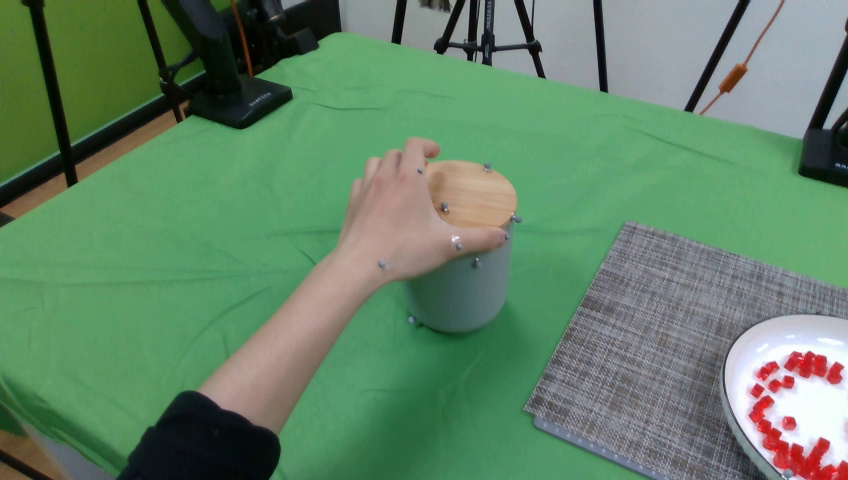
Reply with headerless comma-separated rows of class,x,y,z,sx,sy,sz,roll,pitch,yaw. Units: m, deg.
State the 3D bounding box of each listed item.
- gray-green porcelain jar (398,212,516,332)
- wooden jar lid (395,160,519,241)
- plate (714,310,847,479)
gray-green porcelain jar,0.030,0.017,0.579,0.106,0.127,0.105,0,41,0
wooden jar lid,0.029,-0.033,0.537,0.108,0.021,0.107,2,42,-1
plate,0.342,0.145,0.490,0.208,0.039,0.205,0,41,1
